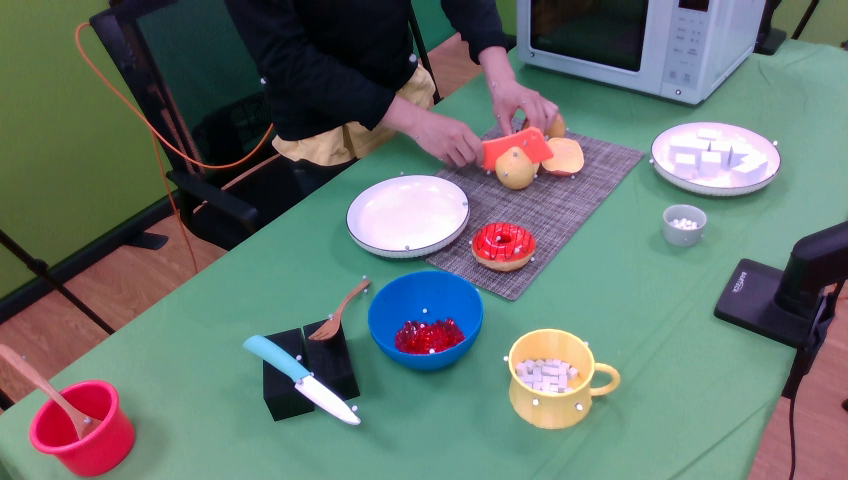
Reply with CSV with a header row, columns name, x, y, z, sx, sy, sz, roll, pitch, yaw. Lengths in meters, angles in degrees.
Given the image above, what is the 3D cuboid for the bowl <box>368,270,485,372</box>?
name,x,y,z,sx,sy,sz,roll,pitch,yaw
bowl,0.007,0.118,0.791,0.151,0.077,0.150,-5,40,4

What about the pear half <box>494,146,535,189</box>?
name,x,y,z,sx,sy,sz,roll,pitch,yaw
pear half,0.154,-0.117,1.034,0.070,0.088,0.031,5,50,11

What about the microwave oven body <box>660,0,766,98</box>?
name,x,y,z,sx,sy,sz,roll,pitch,yaw
microwave oven body,0.472,-0.513,1.317,0.438,0.261,0.327,26,51,34

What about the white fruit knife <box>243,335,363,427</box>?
name,x,y,z,sx,sy,sz,roll,pitch,yaw
white fruit knife,-0.148,0.167,0.729,0.206,0.016,0.027,27,80,31

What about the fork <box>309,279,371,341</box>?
name,x,y,z,sx,sy,sz,roll,pitch,yaw
fork,-0.109,0.093,0.832,0.028,0.018,0.207,-4,19,15

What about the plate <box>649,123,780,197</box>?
name,x,y,z,sx,sy,sz,roll,pitch,yaw
plate,0.497,-0.135,1.046,0.207,0.039,0.206,-4,40,4

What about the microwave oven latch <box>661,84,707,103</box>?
name,x,y,z,sx,sy,sz,roll,pitch,yaw
microwave oven latch,0.517,-0.296,1.204,0.078,0.029,0.030,27,52,35

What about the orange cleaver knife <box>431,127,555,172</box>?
name,x,y,z,sx,sy,sz,roll,pitch,yaw
orange cleaver knife,0.116,-0.149,1.038,0.210,0.077,0.012,-4,41,26

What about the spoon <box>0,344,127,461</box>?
name,x,y,z,sx,sy,sz,roll,pitch,yaw
spoon,-0.433,0.191,0.721,0.194,0.021,0.042,47,52,-6

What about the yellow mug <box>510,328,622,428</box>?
name,x,y,z,sx,sy,sz,roll,pitch,yaw
yellow mug,0.168,0.164,0.722,0.130,0.064,0.099,0,40,8

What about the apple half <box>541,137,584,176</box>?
name,x,y,z,sx,sy,sz,roll,pitch,yaw
apple half,0.247,-0.146,1.089,0.081,0.033,0.081,-1,65,4

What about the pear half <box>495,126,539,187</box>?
name,x,y,z,sx,sy,sz,roll,pitch,yaw
pear half,0.165,-0.153,1.054,0.076,0.110,0.056,9,39,11

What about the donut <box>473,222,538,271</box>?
name,x,y,z,sx,sy,sz,roll,pitch,yaw
donut,0.123,0.009,0.923,0.099,0.048,0.098,-3,38,3

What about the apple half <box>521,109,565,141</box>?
name,x,y,z,sx,sy,sz,roll,pitch,yaw
apple half,0.224,-0.212,1.145,0.080,0.075,0.053,-6,36,9

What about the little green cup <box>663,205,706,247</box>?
name,x,y,z,sx,sy,sz,roll,pitch,yaw
little green cup,0.396,-0.020,0.926,0.061,0.039,0.061,-4,40,4

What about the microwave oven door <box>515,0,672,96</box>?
name,x,y,z,sx,sy,sz,roll,pitch,yaw
microwave oven door,0.343,-0.455,1.259,0.353,0.245,0.039,26,51,33

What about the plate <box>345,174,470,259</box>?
name,x,y,z,sx,sy,sz,roll,pitch,yaw
plate,-0.026,-0.037,1.004,0.209,0.038,0.208,-4,40,4
